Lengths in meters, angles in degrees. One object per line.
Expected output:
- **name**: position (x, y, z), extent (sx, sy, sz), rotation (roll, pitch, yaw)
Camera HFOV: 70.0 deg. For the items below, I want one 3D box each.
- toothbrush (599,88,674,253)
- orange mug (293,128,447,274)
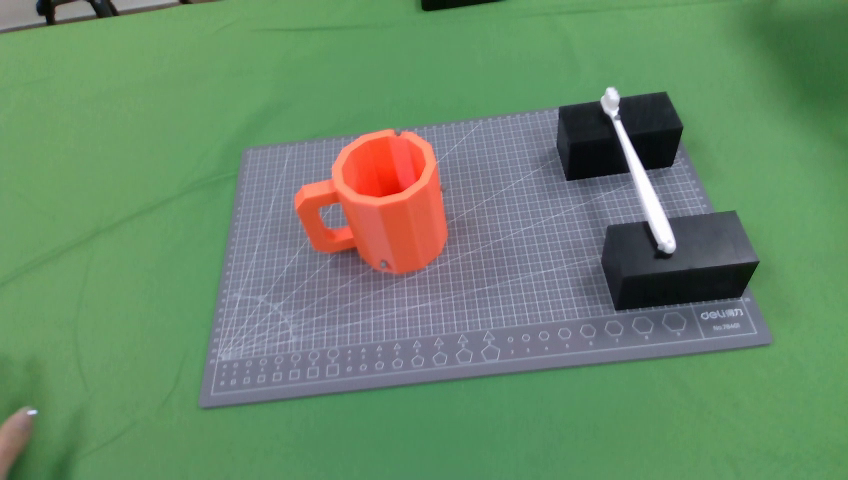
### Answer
- **toothbrush**: position (0.177, -0.065, 0.507), extent (0.014, 0.017, 0.180), rotation (1, 53, -10)
- **orange mug**: position (-0.045, -0.029, 0.524), extent (0.126, 0.102, 0.082), rotation (-11, 52, -5)
